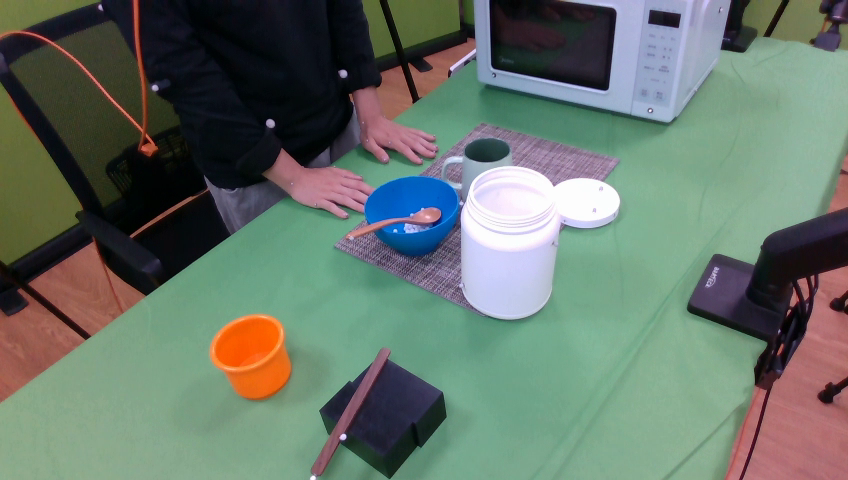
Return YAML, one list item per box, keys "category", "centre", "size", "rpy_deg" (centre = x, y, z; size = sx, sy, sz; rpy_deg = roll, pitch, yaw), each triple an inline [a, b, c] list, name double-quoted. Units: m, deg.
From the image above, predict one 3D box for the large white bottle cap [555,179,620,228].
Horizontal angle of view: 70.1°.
- category: "large white bottle cap"
  centre: [0.265, -0.062, 1.001]
  size: [0.115, 0.018, 0.114]
  rpy_deg: [-3, 41, 3]

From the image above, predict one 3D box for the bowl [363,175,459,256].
- category: "bowl"
  centre: [-0.016, -0.028, 0.955]
  size: [0.151, 0.077, 0.150]
  rpy_deg: [-4, 40, 4]

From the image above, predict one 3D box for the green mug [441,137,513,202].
- category: "green mug"
  centre: [0.091, -0.107, 1.012]
  size: [0.125, 0.105, 0.092]
  rpy_deg: [2, 42, 11]

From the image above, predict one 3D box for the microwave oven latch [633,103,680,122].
- category: "microwave oven latch"
  centre: [0.444, -0.249, 1.157]
  size: [0.078, 0.029, 0.030]
  rpy_deg: [20, 48, 30]

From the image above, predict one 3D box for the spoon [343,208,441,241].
- category: "spoon"
  centre: [-0.046, -0.025, 0.911]
  size: [0.041, 0.021, 0.195]
  rpy_deg: [26, 27, 37]

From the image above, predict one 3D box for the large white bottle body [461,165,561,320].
- category: "large white bottle body"
  centre: [0.115, 0.004, 0.816]
  size: [0.130, 0.185, 0.130]
  rpy_deg: [-2, 43, 2]

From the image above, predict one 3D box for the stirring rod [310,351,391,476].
- category: "stirring rod"
  centre: [-0.081, 0.192, 0.693]
  size: [0.014, 0.006, 0.176]
  rpy_deg: [6, 40, 25]

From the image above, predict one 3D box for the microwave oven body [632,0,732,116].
- category: "microwave oven body"
  centre: [0.377, -0.462, 1.267]
  size: [0.438, 0.261, 0.327]
  rpy_deg: [21, 48, 30]

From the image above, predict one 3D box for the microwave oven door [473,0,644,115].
- category: "microwave oven door"
  centre: [0.257, -0.396, 1.199]
  size: [0.353, 0.245, 0.039]
  rpy_deg: [21, 48, 29]
